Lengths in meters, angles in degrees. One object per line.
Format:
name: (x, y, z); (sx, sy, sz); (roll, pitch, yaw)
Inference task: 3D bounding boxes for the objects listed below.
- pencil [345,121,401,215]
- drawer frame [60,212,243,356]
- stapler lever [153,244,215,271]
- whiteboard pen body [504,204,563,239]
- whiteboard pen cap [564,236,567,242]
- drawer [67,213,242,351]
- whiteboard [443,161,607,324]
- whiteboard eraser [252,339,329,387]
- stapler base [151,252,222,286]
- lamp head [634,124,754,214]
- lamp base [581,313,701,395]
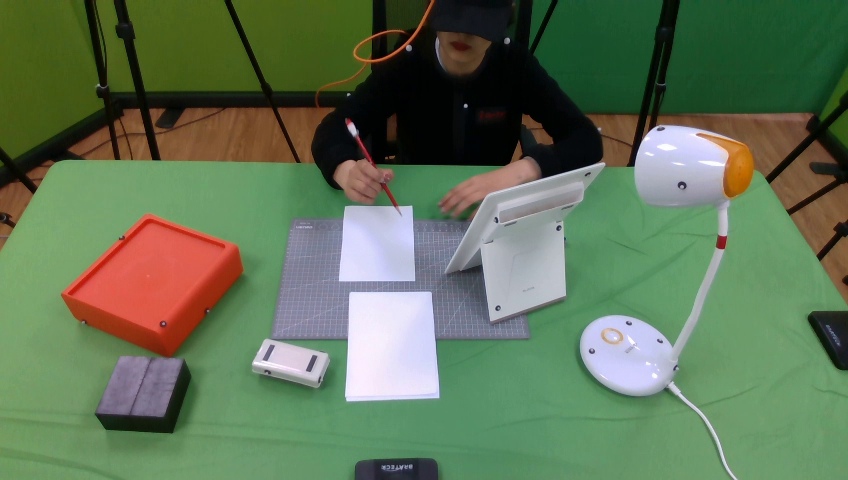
pencil: (-0.088, -0.126, 1.059); (0.012, 0.012, 0.193); (-27, 82, -26)
drawer frame: (-0.462, 0.070, 1.053); (0.201, 0.083, 0.213); (18, 48, 12)
stapler lever: (-0.430, 0.025, 1.088); (0.118, 0.040, 0.027); (16, 33, 13)
whiteboard pen body: (0.226, -0.037, 1.250); (0.140, 0.017, 0.017); (32, 52, 23)
whiteboard pen cap: (0.271, -0.008, 1.225); (0.033, 0.018, 0.018); (34, 53, 23)
drawer: (-0.461, 0.068, 1.056); (0.194, 0.073, 0.211); (19, 48, 13)
whiteboard: (0.185, 0.026, 1.028); (0.217, 0.306, 0.143); (-15, 68, -18)
whiteboard eraser: (-0.215, 0.199, 0.976); (0.112, 0.042, 0.055); (12, 45, 7)
stapler base: (-0.432, 0.047, 1.102); (0.130, 0.024, 0.041); (16, 33, 12)
lamp head: (0.351, -0.089, 0.775); (0.112, 0.113, 0.122); (-30, 30, -28)
lamp base: (0.361, 0.144, 0.973); (0.178, 0.181, 0.160); (34, 53, 23)
